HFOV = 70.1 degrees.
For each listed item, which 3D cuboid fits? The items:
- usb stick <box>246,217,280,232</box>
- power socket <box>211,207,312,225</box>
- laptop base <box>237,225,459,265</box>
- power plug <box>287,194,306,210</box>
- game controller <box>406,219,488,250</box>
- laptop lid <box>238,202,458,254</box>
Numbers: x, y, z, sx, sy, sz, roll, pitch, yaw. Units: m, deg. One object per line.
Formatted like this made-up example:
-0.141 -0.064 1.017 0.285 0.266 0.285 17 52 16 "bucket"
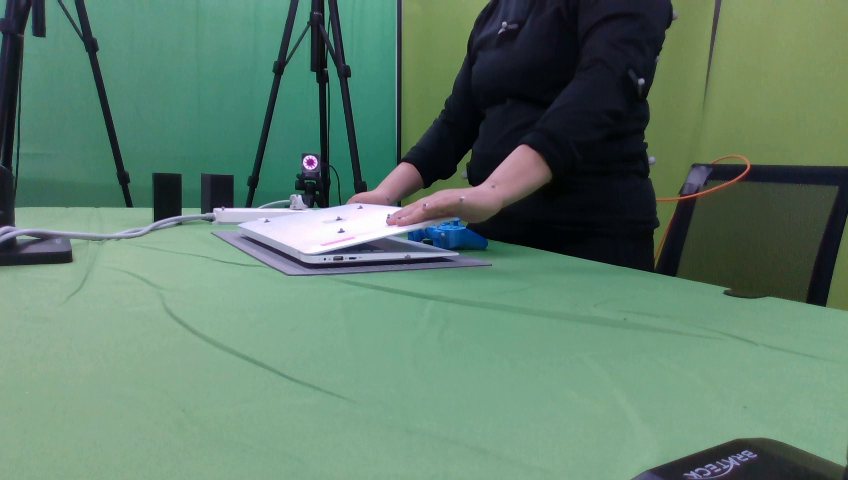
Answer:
-0.296 -0.028 1.113 0.059 0.027 0.021 -3 12 -30 "usb stick"
-0.334 -0.051 1.281 0.228 0.032 0.072 -1 9 -29 "power socket"
-0.136 0.006 0.951 0.237 0.023 0.352 2 6 -32 "laptop base"
-0.283 -0.075 1.342 0.035 0.052 0.072 0 3 -18 "power plug"
0.034 -0.013 1.067 0.097 0.051 0.154 -6 10 -29 "game controller"
-0.135 -0.028 0.946 0.243 0.013 0.355 -12 13 -28 "laptop lid"
